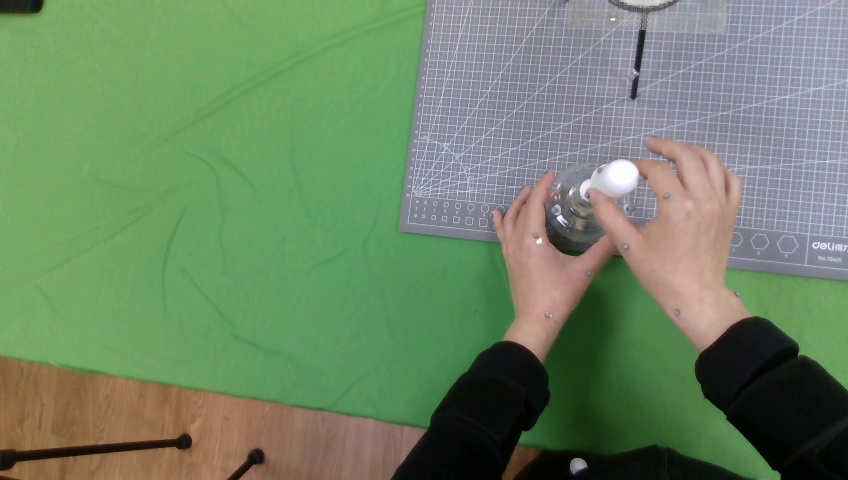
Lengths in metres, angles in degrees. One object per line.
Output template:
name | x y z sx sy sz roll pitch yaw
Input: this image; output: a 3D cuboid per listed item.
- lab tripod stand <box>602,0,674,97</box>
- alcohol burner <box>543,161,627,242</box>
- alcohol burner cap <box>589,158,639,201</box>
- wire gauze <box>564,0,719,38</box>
lab tripod stand | 0.194 -0.222 0.557 0.148 0.132 0.148 -1 87 11
alcohol burner | 0.151 -0.038 0.563 0.078 0.119 0.077 -1 85 11
alcohol burner cap | 0.155 -0.051 0.489 0.034 0.048 0.034 0 86 1
wire gauze | 0.180 -0.229 0.493 0.125 0.011 0.121 6 90 10
